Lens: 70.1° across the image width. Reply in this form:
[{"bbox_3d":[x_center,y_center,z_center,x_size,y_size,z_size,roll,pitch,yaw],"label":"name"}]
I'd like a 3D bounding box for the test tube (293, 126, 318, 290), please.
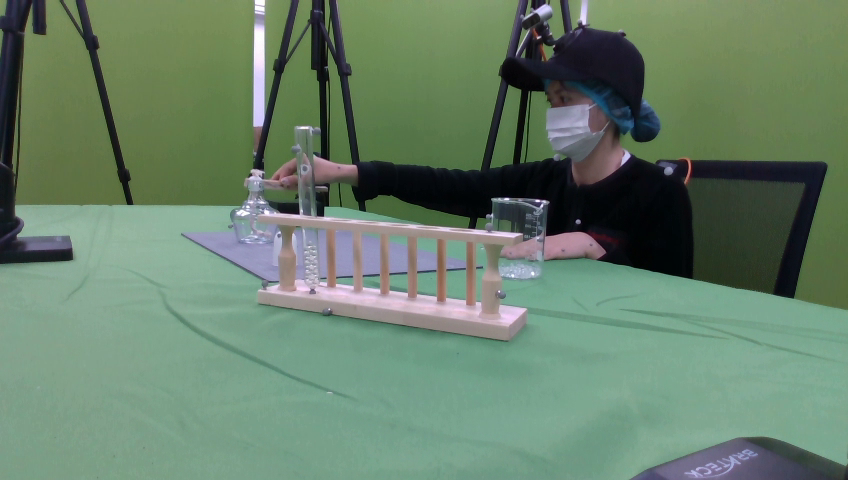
[{"bbox_3d":[-0.107,-0.027,0.550,0.017,0.150,0.017,-1,11,0],"label":"test tube"}]

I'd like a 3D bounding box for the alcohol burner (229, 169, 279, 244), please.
[{"bbox_3d":[-0.268,-0.053,0.958,0.078,0.119,0.078,2,5,0],"label":"alcohol burner"}]

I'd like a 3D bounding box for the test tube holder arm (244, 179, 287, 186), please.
[{"bbox_3d":[-0.314,-0.114,1.201,0.088,0.010,0.015,0,11,-39],"label":"test tube holder arm"}]

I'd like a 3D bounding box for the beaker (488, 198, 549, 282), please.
[{"bbox_3d":[0.120,-0.001,0.768,0.074,0.100,0.083,-1,9,-25],"label":"beaker"}]

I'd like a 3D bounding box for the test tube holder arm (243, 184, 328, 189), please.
[{"bbox_3d":[-0.278,-0.110,1.231,0.179,0.013,0.015,-2,12,-38],"label":"test tube holder arm"}]

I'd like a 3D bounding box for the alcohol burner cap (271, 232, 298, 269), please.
[{"bbox_3d":[-0.175,0.012,0.761,0.034,0.048,0.034,2,8,0],"label":"alcohol burner cap"}]

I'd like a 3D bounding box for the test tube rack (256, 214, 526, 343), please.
[{"bbox_3d":[-0.032,0.027,0.547,0.241,0.085,0.067,5,7,22],"label":"test tube rack"}]
